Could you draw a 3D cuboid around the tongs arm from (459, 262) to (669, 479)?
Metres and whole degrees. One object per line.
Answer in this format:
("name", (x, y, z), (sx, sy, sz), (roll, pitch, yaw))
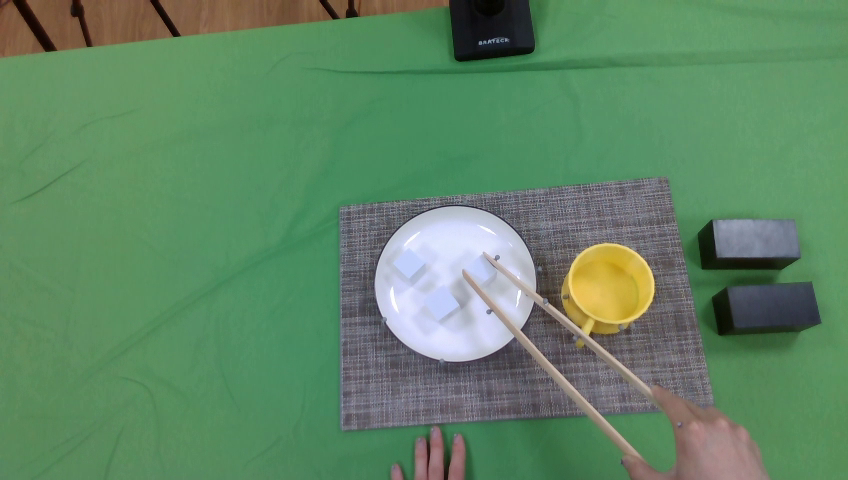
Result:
("tongs arm", (0.149, 0.135, 0.636), (0.028, 0.028, 0.383), (-33, 47, -12))

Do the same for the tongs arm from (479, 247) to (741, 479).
("tongs arm", (0.167, 0.122, 0.639), (0.051, 0.027, 0.380), (-39, 48, -12))

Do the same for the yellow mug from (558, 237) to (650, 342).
("yellow mug", (0.212, 0.067, 0.742), (0.099, 0.064, 0.130), (26, 76, 12))

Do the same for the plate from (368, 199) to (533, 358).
("plate", (0.034, 0.050, 0.778), (0.207, 0.039, 0.206), (-1, 72, 4))
